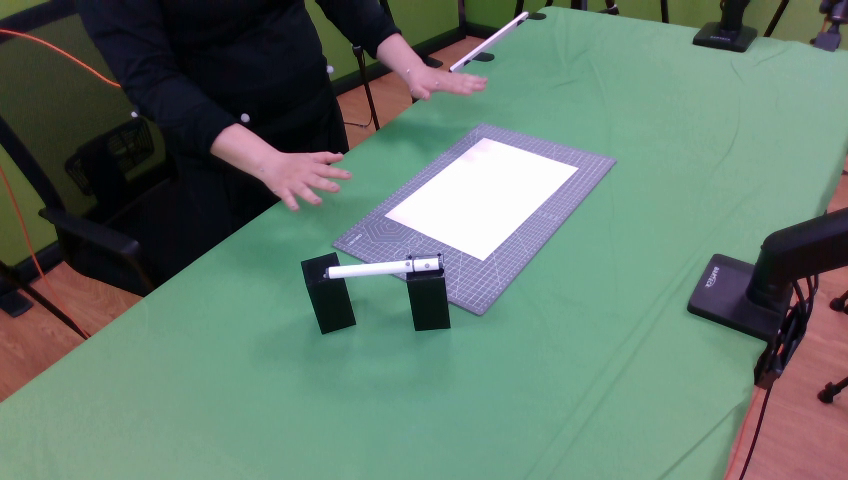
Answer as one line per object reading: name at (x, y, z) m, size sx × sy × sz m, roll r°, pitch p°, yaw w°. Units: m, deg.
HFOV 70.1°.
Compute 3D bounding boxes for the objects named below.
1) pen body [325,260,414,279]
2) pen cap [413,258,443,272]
pen body at (-0.056, 0.037, 0.784) m, size 0.144 × 0.017 × 0.017 m, roll -5°, pitch 40°, yaw 4°
pen cap at (0.005, 0.031, 0.781) m, size 0.038 × 0.017 × 0.017 m, roll -5°, pitch 40°, yaw 3°
